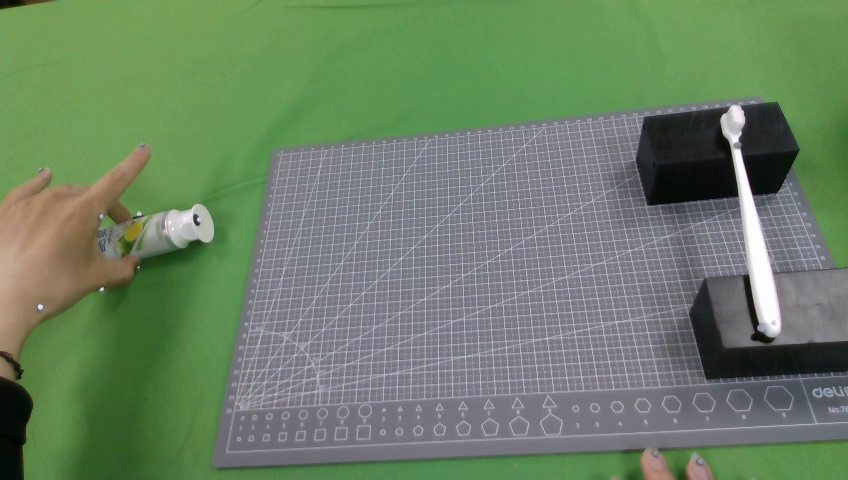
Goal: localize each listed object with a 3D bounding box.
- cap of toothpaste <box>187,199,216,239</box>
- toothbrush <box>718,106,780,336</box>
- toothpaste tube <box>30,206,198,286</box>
[{"bbox_3d":[-0.195,-0.018,0.527,0.011,0.038,0.037,-14,55,5],"label":"cap of toothpaste"},{"bbox_3d":[0.218,-0.021,0.406,0.014,0.017,0.180,9,59,-2],"label":"toothbrush"},{"bbox_3d":[-0.271,-0.002,0.538,0.165,0.035,0.054,-13,52,6],"label":"toothpaste tube"}]
